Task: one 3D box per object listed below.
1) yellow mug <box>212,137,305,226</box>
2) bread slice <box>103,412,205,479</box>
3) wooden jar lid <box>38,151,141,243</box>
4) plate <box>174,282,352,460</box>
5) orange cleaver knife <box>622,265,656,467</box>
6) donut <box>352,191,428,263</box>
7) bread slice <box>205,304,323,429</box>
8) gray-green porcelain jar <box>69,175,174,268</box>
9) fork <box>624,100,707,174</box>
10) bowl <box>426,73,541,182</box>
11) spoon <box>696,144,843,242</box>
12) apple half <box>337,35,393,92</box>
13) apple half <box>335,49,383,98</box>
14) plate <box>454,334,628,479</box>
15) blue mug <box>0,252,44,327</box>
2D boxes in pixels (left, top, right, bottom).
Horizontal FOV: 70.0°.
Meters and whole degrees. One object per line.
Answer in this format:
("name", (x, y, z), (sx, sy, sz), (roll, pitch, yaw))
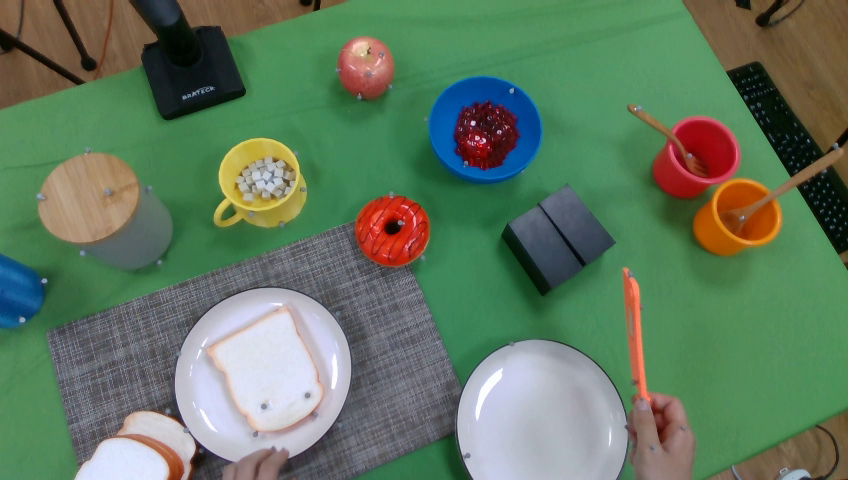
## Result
("yellow mug", (-0.221, -0.065, 0.786), (0.099, 0.064, 0.130), (43, 76, 9))
("bread slice", (-0.305, 0.264, 0.689), (0.105, 0.019, 0.131), (13, 71, -7))
("wooden jar lid", (-0.369, -0.046, 0.674), (0.108, 0.021, 0.107), (1, 71, -2))
("plate", (-0.190, 0.155, 0.731), (0.208, 0.039, 0.206), (1, 73, -3))
("orange cleaver knife", (0.230, 0.133, 0.655), (0.012, 0.077, 0.211), (-6, 90, 8))
("donut", (-0.044, -0.017, 0.788), (0.099, 0.048, 0.098), (1, 74, -3))
("bread slice", (-0.183, 0.157, 0.731), (0.107, 0.018, 0.133), (-32, 77, -12))
("gray-green porcelain jar", (-0.372, -0.027, 0.733), (0.106, 0.127, 0.105), (1, 72, -3))
("fork", (0.321, -0.133, 0.794), (0.209, 0.018, 0.028), (25, 66, -40))
("bowl", (0.076, -0.139, 0.818), (0.151, 0.077, 0.150), (1, 73, -3))
("spoon", (0.440, -0.059, 0.778), (0.022, 0.194, 0.041), (-9, 64, -53))
("apple half", (-0.075, -0.250, 0.846), (0.080, 0.075, 0.053), (32, 68, 11))
("apple half", (-0.096, -0.220, 0.834), (0.081, 0.081, 0.032), (33, 69, 7))
("plate", (0.139, 0.220, 0.733), (0.209, 0.038, 0.208), (1, 73, -2))
("blue mug", (-0.528, 0.064, 0.707), (0.082, 0.106, 0.116), (41, 75, 10))
